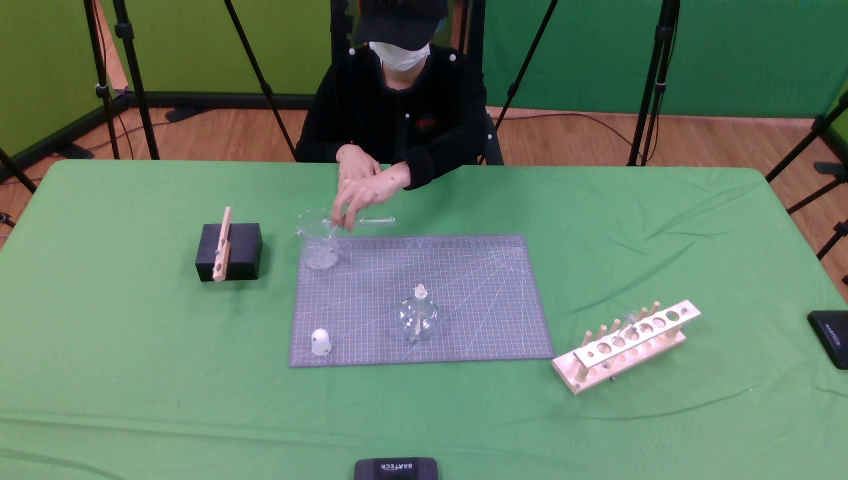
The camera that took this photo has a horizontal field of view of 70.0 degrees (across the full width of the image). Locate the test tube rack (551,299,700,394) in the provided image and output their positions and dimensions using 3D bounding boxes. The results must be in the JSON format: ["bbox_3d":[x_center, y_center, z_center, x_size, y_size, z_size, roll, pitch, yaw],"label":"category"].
[{"bbox_3d":[0.339,0.166,1.021,0.242,0.085,0.066,-19,50,-21],"label":"test tube rack"}]

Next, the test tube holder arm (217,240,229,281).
[{"bbox_3d":[-0.355,0.035,1.070,0.010,0.015,0.087,-9,47,-1],"label":"test tube holder arm"}]

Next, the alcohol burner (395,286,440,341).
[{"bbox_3d":[-0.010,0.116,1.018,0.078,0.119,0.077,3,47,-3],"label":"alcohol burner"}]

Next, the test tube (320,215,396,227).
[{"bbox_3d":[-0.116,-0.032,1.050,0.150,0.017,0.017,-2,42,25],"label":"test tube"}]

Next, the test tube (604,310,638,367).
[{"bbox_3d":[0.310,0.158,0.957,0.017,0.151,0.017,1,49,-1],"label":"test tube"}]

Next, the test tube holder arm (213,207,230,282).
[{"bbox_3d":[-0.366,0.004,1.101,0.013,0.015,0.177,-10,47,-2],"label":"test tube holder arm"}]

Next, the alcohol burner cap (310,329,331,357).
[{"bbox_3d":[-0.173,0.168,1.005,0.034,0.048,0.033,2,46,-2],"label":"alcohol burner cap"}]

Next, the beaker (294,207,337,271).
[{"bbox_3d":[-0.196,0.003,1.123,0.074,0.101,0.083,-23,53,-24],"label":"beaker"}]
